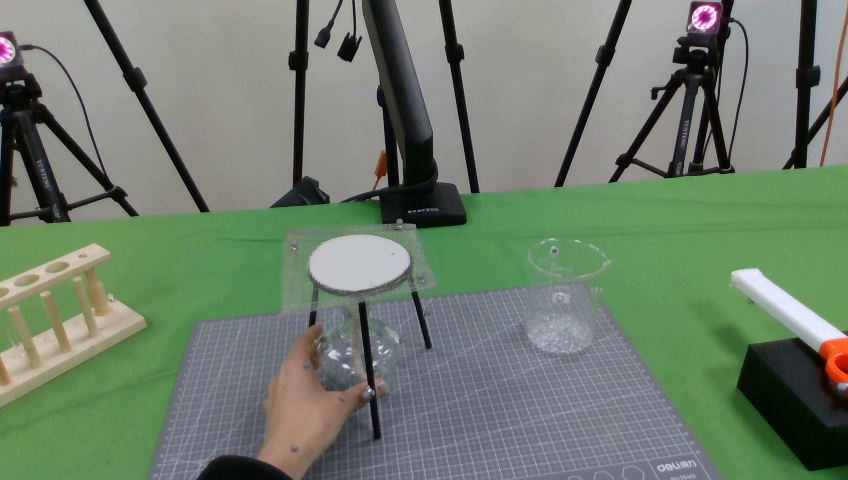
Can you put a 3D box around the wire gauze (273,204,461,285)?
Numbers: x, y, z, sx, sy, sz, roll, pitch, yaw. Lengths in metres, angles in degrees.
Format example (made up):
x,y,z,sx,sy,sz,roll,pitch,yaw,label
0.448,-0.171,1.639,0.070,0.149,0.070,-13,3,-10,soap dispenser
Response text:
x,y,z,sx,sy,sz,roll,pitch,yaw,label
-0.050,0.002,0.500,0.125,0.011,0.120,-10,27,-29,wire gauze

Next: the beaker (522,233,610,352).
x,y,z,sx,sy,sz,roll,pitch,yaw,label
0.138,0.054,0.603,0.084,0.101,0.073,-1,31,0,beaker

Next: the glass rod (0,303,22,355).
x,y,z,sx,sy,sz,roll,pitch,yaw,label
-0.401,0.030,0.552,0.008,0.201,0.008,3,32,-1,glass rod

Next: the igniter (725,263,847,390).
x,y,z,sx,sy,sz,roll,pitch,yaw,label
0.350,0.093,0.512,0.057,0.025,0.274,-7,27,-8,igniter

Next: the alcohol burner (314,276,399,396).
x,y,z,sx,sy,sz,roll,pitch,yaw,label
-0.062,0.082,0.549,0.078,0.120,0.077,1,30,0,alcohol burner

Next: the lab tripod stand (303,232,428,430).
x,y,z,sx,sy,sz,roll,pitch,yaw,label
-0.053,0.073,0.545,0.148,0.132,0.147,1,31,0,lab tripod stand

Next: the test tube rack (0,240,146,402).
x,y,z,sx,sy,sz,roll,pitch,yaw,label
-0.404,0.094,0.575,0.066,0.086,0.242,21,37,32,test tube rack
